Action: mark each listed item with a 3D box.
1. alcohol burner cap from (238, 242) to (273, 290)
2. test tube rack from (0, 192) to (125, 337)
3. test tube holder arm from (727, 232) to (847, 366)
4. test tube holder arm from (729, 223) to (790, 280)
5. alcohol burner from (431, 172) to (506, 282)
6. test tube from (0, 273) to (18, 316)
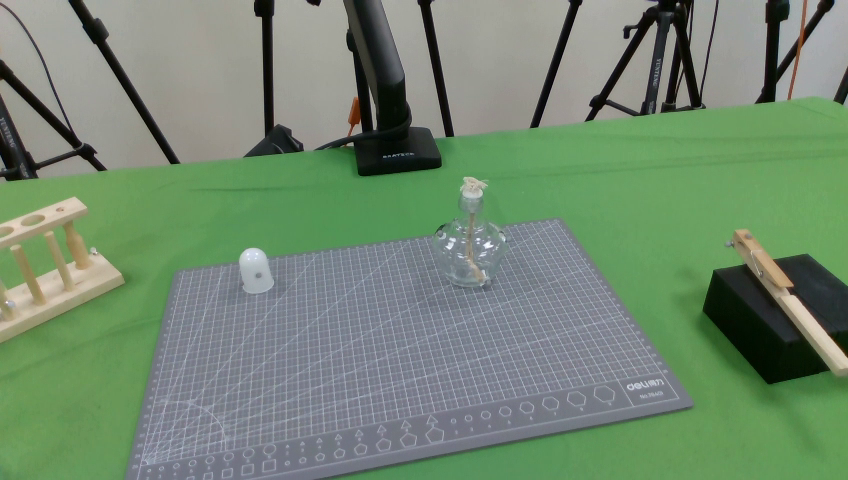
[{"bbox_3d":[-0.178,0.025,0.632,0.034,0.048,0.033,-2,35,1],"label":"alcohol burner cap"},{"bbox_3d":[-0.433,0.046,0.583,0.066,0.086,0.242,28,45,35],"label":"test tube rack"},{"bbox_3d":[0.309,0.042,0.523,0.015,0.013,0.176,-2,35,-1],"label":"test tube holder arm"},{"bbox_3d":[0.307,0.012,0.557,0.015,0.010,0.087,-2,36,-1],"label":"test tube holder arm"},{"bbox_3d":[0.046,-0.017,0.618,0.078,0.120,0.077,0,35,0],"label":"alcohol burner"},{"bbox_3d":[-0.410,0.010,0.555,0.017,0.151,0.017,-1,36,1],"label":"test tube"}]
